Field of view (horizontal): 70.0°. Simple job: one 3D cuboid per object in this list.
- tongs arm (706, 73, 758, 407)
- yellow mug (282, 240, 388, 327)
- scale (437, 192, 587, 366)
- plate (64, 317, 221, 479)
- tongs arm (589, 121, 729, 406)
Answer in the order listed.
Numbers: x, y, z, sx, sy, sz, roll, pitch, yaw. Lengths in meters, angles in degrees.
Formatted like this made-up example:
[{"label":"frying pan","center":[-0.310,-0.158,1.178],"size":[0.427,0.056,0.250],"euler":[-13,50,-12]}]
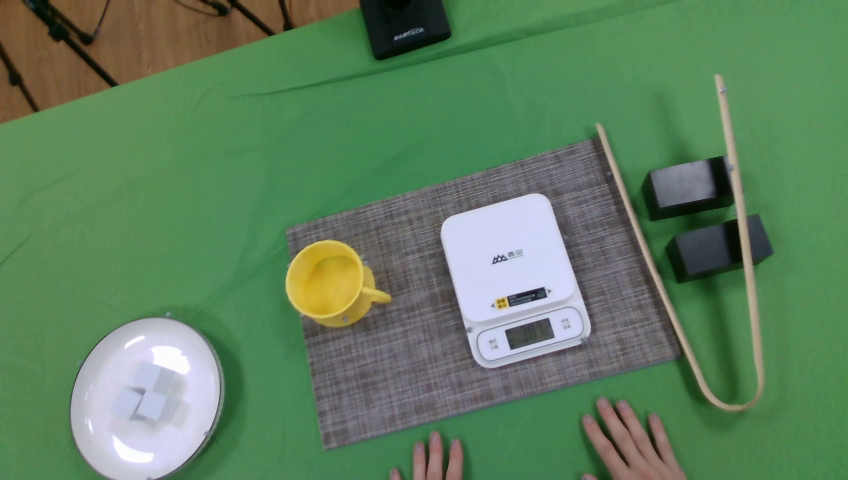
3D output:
[{"label":"tongs arm","center":[0.344,-0.005,0.703],"size":[0.050,0.027,0.383],"euler":[-12,77,33]},{"label":"yellow mug","center":[-0.108,0.060,0.772],"size":[0.130,0.064,0.099],"euler":[12,76,11]},{"label":"scale","center":[0.108,0.046,0.762],"size":[0.148,0.032,0.199],"euler":[-16,73,4]},{"label":"plate","center":[-0.359,0.206,0.785],"size":[0.207,0.039,0.206],"euler":[-2,73,7]},{"label":"tongs arm","center":[0.280,0.017,0.748],"size":[0.028,0.028,0.384],"euler":[-26,70,26]}]
